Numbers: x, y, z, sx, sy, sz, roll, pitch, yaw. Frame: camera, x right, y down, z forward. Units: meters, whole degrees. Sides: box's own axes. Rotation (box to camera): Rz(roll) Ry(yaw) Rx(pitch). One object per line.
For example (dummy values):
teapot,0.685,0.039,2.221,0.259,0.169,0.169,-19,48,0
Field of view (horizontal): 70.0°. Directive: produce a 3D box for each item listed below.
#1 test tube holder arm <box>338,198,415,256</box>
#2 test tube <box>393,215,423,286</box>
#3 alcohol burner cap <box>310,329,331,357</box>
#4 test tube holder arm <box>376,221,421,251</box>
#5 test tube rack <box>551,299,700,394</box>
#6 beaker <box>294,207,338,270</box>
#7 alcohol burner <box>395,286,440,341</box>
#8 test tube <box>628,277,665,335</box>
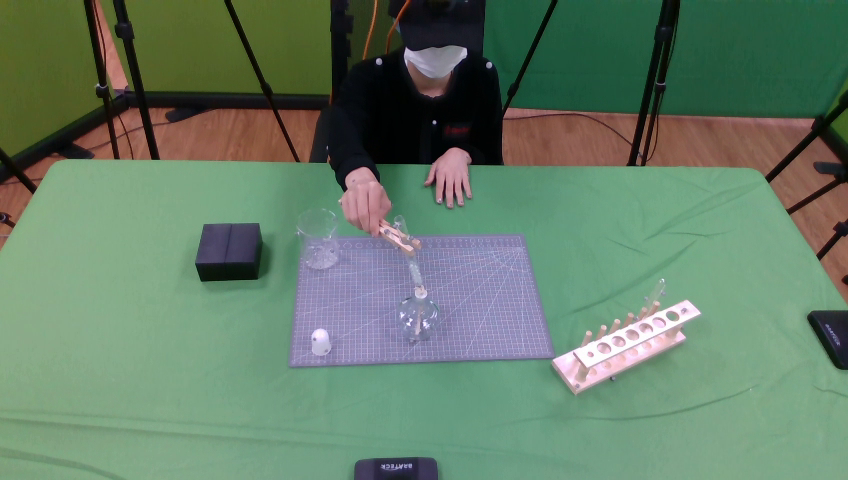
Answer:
test tube holder arm,-0.077,-0.023,0.939,0.013,0.015,0.177,-39,52,-25
test tube,-0.023,0.020,0.918,0.017,0.151,0.017,-8,46,8
alcohol burner cap,-0.173,0.168,1.004,0.034,0.048,0.033,2,46,-2
test tube holder arm,-0.041,-0.007,0.918,0.087,0.015,0.010,25,55,30
test tube rack,0.339,0.166,1.021,0.242,0.085,0.066,-19,50,-21
beaker,-0.196,0.003,1.123,0.074,0.101,0.083,-23,52,-24
alcohol burner,-0.010,0.116,1.018,0.078,0.119,0.077,3,47,-3
test tube,0.371,0.112,1.014,0.017,0.151,0.017,3,47,-3
